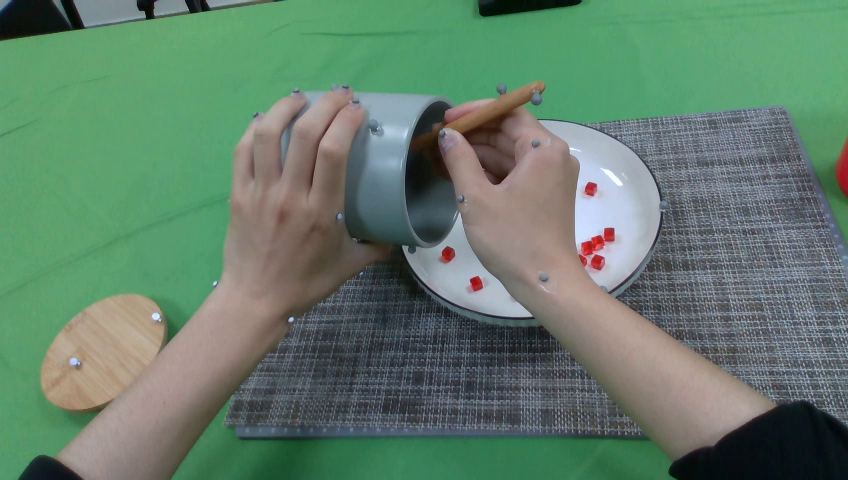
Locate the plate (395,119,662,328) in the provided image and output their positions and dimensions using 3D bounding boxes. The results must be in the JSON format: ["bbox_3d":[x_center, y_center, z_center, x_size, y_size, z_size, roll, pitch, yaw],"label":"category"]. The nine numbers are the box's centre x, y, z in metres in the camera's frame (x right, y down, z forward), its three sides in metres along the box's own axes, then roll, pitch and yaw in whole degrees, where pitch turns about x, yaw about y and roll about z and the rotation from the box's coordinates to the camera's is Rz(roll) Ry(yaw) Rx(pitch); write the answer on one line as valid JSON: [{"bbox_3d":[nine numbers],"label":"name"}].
[{"bbox_3d":[0.080,-0.016,0.491,0.207,0.039,0.205,-7,51,9],"label":"plate"}]

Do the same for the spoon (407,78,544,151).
[{"bbox_3d":[-0.001,-0.070,0.407,0.193,0.022,0.041,-12,38,39],"label":"spoon"}]

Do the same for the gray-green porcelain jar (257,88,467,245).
[{"bbox_3d":[-0.046,-0.056,0.439,0.126,0.107,0.105,9,55,25],"label":"gray-green porcelain jar"}]

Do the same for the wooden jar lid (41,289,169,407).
[{"bbox_3d":[-0.263,0.091,0.508,0.108,0.021,0.107,-6,52,7],"label":"wooden jar lid"}]
